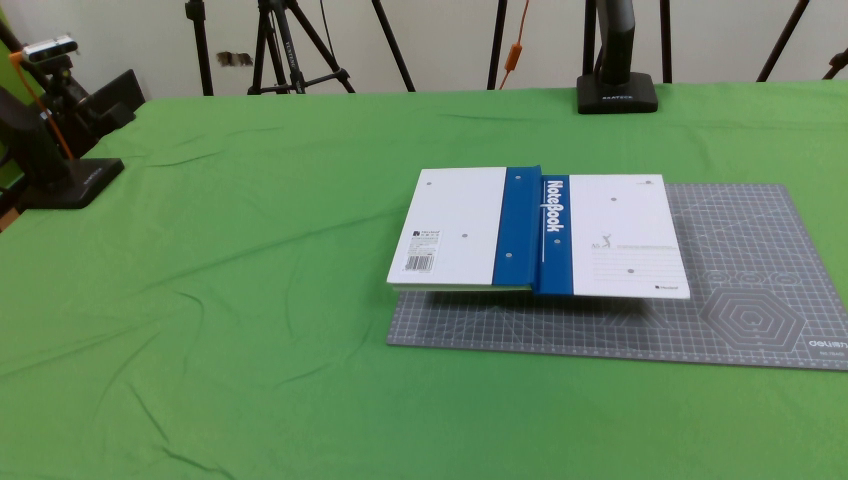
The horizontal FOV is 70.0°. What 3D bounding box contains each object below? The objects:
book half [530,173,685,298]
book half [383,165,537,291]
[{"bbox_3d":[0.189,-0.014,0.648,0.143,0.007,0.208,1,39,11],"label":"book half"},{"bbox_3d":[0.048,-0.021,0.670,0.148,0.016,0.208,0,40,12],"label":"book half"}]
